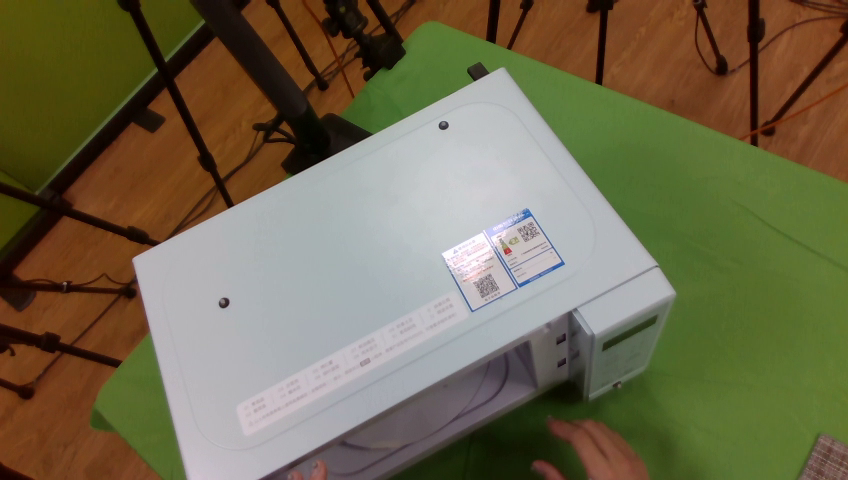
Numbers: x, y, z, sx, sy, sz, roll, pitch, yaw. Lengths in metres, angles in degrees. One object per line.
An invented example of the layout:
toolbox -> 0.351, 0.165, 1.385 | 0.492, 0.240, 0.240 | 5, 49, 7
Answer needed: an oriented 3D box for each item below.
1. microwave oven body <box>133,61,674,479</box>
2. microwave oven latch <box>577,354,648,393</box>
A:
microwave oven body -> -0.025, 0.071, 0.671 | 0.442, 0.262, 0.322 | -28, 61, -2
microwave oven latch -> 0.214, 0.143, 0.691 | 0.079, 0.030, 0.030 | -27, 61, -1
